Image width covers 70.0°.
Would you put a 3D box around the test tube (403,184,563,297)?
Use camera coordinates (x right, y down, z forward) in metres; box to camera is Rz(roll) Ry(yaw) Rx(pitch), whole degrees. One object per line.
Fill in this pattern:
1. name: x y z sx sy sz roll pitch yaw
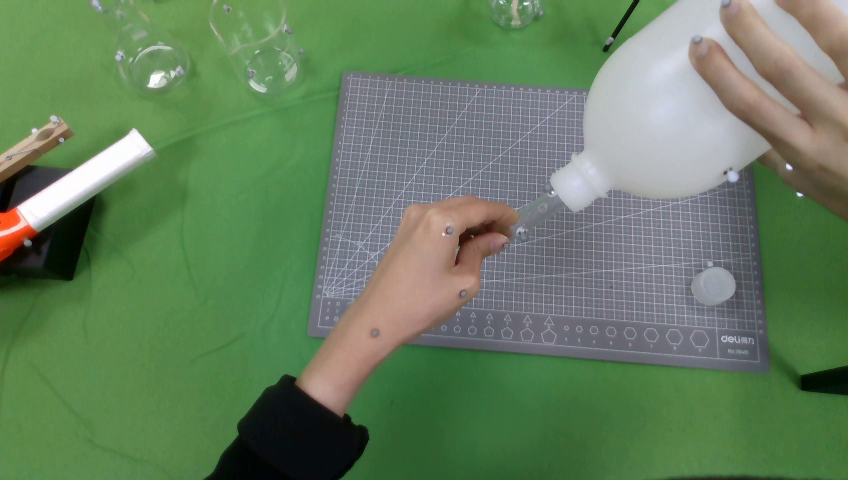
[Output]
1. test tube: 0.039 0.003 0.433 0.150 0.017 0.017 -35 71 30

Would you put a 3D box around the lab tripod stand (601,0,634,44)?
1. lab tripod stand: 0.269 -0.278 0.644 0.148 0.132 0.147 1 71 -2

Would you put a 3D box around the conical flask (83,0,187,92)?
1. conical flask: -0.300 -0.213 0.619 0.075 0.122 0.075 0 72 0

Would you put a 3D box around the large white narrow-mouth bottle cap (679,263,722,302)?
1. large white narrow-mouth bottle cap: 0.275 0.042 0.601 0.038 0.024 0.037 0 74 0

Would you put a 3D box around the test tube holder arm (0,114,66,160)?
1. test tube holder arm: -0.419 -0.061 0.574 0.178 0.015 0.013 -39 77 -13

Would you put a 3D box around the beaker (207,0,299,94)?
1. beaker: -0.174 -0.205 0.631 0.074 0.101 0.083 19 74 6

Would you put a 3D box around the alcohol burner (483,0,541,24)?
1. alcohol burner: 0.100 -0.293 0.656 0.078 0.120 0.077 1 71 -2

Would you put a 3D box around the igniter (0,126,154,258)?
1. igniter: -0.377 -0.016 0.558 0.276 0.025 0.057 -39 79 -15

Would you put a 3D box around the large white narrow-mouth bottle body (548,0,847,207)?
1. large white narrow-mouth bottle body: 0.157 -0.086 0.348 0.195 0.102 0.101 -38 74 21

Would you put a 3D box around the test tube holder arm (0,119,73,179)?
1. test tube holder arm: -0.381 -0.085 0.583 0.088 0.015 0.010 -38 77 -12
